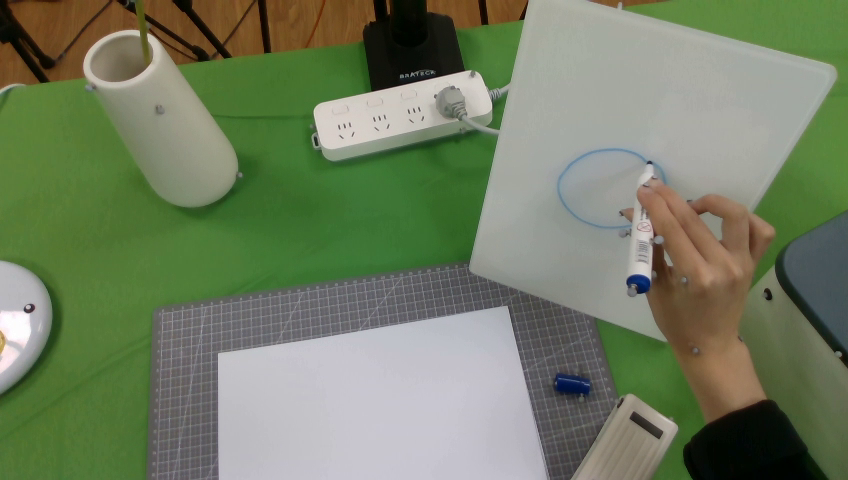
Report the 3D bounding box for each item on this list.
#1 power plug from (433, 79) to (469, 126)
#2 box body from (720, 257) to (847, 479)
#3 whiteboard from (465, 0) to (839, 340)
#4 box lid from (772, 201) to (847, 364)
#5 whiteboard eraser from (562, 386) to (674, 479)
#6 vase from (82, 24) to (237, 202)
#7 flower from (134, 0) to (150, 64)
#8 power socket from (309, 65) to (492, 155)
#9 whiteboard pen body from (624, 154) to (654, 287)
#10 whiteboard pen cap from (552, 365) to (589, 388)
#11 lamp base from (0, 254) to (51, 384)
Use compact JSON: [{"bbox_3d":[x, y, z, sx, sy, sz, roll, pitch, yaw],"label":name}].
[{"bbox_3d":[0.030,-0.152,0.697,0.035,0.053,0.072,-4,70,-1],"label":"power plug"},{"bbox_3d":[0.469,0.131,0.505,0.254,0.161,0.361,-26,66,-11],"label":"box body"},{"bbox_3d":[0.185,-0.084,0.569,0.216,0.308,0.143,20,45,11],"label":"whiteboard"},{"bbox_3d":[0.466,0.096,0.438,0.263,0.015,0.368,-26,67,-10],"label":"box lid"},{"bbox_3d":[0.173,0.192,0.545,0.055,0.042,0.112,34,69,17],"label":"whiteboard eraser"},{"bbox_3d":[-0.265,-0.122,0.621,0.098,0.201,0.097,-1,64,2],"label":"vase"},{"bbox_3d":[-0.246,-0.154,0.545,0.038,0.362,0.044,39,61,0],"label":"flower"},{"bbox_3d":[-0.027,-0.156,0.725,0.227,0.033,0.071,-13,65,-6],"label":"power socket"},{"bbox_3d":[0.160,-0.021,0.445,0.017,0.017,0.140,15,48,9],"label":"whiteboard pen body"},{"bbox_3d":[0.142,0.133,0.588,0.033,0.018,0.018,9,64,3],"label":"whiteboard pen cap"},{"bbox_3d":[-0.478,0.047,0.553,0.178,0.182,0.160,21,66,14],"label":"lamp base"}]
